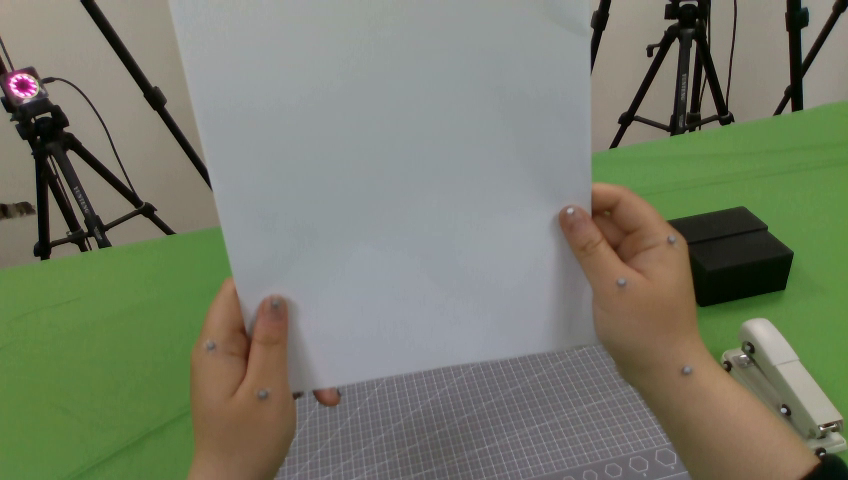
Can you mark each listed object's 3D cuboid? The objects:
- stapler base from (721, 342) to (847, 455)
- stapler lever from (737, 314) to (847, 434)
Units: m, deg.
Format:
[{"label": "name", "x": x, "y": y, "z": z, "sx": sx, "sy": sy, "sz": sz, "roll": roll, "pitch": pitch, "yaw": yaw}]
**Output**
[{"label": "stapler base", "x": 0.321, "y": 0.132, "z": 0.546, "sx": 0.041, "sy": 0.024, "sz": 0.129, "roll": -13, "pitch": 35, "yaw": -5}, {"label": "stapler lever", "x": 0.319, "y": 0.112, "z": 0.531, "sx": 0.027, "sy": 0.040, "sz": 0.117, "roll": -13, "pitch": 35, "yaw": -4}]
